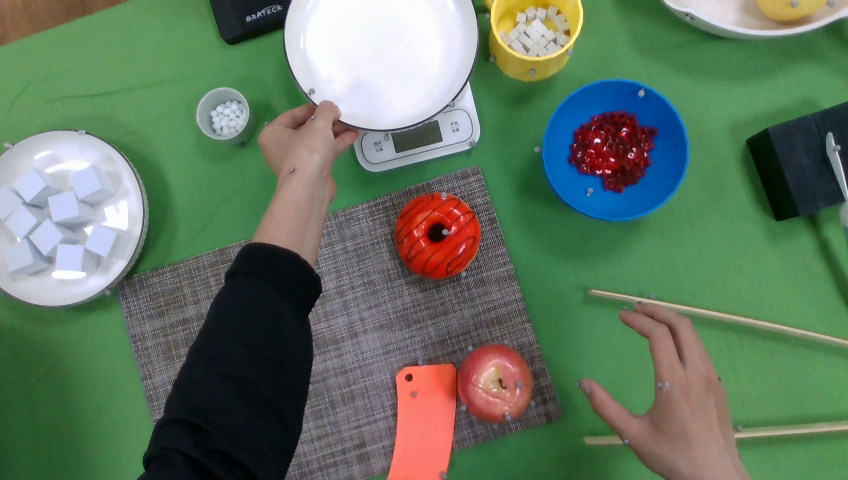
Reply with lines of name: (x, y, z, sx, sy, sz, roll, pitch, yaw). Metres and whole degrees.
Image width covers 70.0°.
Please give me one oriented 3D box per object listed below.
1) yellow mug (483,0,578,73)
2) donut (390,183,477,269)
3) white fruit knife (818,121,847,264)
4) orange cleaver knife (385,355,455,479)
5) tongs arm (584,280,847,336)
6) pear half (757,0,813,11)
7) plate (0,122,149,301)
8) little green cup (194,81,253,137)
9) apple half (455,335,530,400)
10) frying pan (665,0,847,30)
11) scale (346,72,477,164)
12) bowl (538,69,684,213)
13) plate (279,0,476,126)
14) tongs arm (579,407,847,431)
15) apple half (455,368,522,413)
yellow mug: (0.107, -0.258, 0.685, 0.130, 0.064, 0.100, 39, 90, 6)
donut: (0.010, -0.016, 0.681, 0.099, 0.048, 0.099, 0, 86, 4)
white fruit knife: (0.449, -0.027, 0.647, 0.016, 0.027, 0.208, -20, 100, 2)
orange cleaver knife: (-0.011, 0.230, 0.676, 0.077, 0.012, 0.211, 11, 84, -2)
tongs arm: (0.368, 0.090, 0.667, 0.387, 0.028, 0.028, 12, 79, 3)
pear half: (0.398, -0.284, 0.647, 0.076, 0.110, 0.056, 19, 87, 8)
plate: (-0.419, -0.033, 0.709, 0.207, 0.039, 0.207, 0, 86, 3)
little green cup: (-0.232, -0.150, 0.708, 0.061, 0.039, 0.061, 0, 85, 3)
apple half: (0.079, 0.131, 0.652, 0.080, 0.075, 0.053, 24, 84, 8)
frying pan: (0.434, -0.297, 0.653, 0.307, 0.103, 0.485, -45, 77, 0)
scale: (-0.030, -0.200, 0.705, 0.148, 0.031, 0.200, -14, 86, 2)
bowl: (0.195, -0.100, 0.664, 0.151, 0.077, 0.151, 0, 87, 3)
plate: (-0.049, -0.223, 0.652, 0.209, 0.038, 0.208, 0, 85, 1)
tongs arm: (0.363, 0.176, 0.659, 0.385, 0.026, 0.050, -2, 82, 2)
apple half: (0.063, 0.166, 0.649, 0.081, 0.081, 0.032, 25, 82, 5)
